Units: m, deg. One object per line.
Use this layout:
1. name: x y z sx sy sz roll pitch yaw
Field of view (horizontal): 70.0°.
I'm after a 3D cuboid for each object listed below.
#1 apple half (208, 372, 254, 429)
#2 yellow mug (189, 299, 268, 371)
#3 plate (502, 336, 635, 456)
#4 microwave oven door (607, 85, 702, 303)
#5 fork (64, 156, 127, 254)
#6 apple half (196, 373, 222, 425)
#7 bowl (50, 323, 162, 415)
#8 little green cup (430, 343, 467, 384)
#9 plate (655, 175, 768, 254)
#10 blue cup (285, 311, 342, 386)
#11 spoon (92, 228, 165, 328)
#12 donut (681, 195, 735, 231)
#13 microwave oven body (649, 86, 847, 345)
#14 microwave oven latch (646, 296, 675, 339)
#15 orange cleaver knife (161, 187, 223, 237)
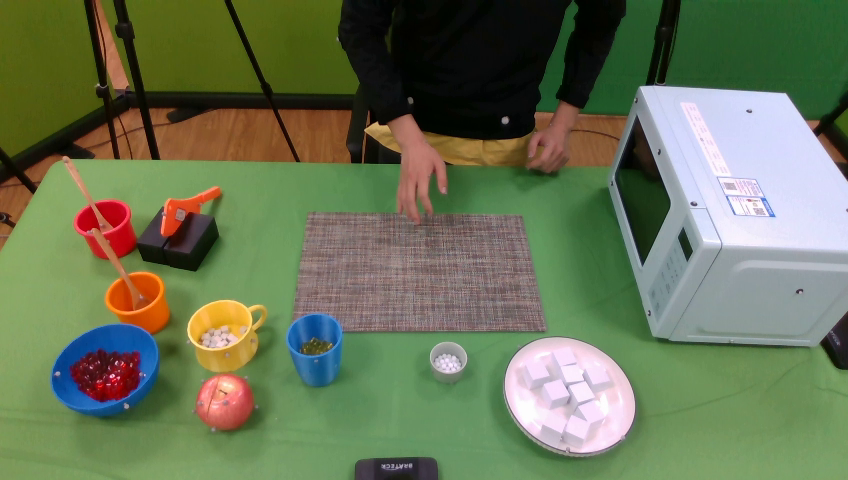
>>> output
1. apple half: -0.282 0.244 0.908 0.053 0.075 0.080 7 43 -1
2. yellow mug: -0.315 0.148 1.002 0.131 0.064 0.099 -32 56 -31
3. plate: 0.225 0.248 0.963 0.208 0.039 0.206 2 46 -2
4. microwave oven door: 0.423 -0.094 1.140 0.039 0.245 0.353 2 46 -1
5. fork: -0.614 -0.064 1.130 0.028 0.018 0.207 -29 97 -16
6. apple half: -0.322 0.239 0.907 0.033 0.081 0.081 7 46 -1
7. bowl: -0.472 0.209 0.924 0.151 0.077 0.150 3 45 -2
8. little green cup: 0.039 0.203 0.994 0.061 0.039 0.061 2 46 -2
9. plate: 0.555 -0.046 1.184 0.209 0.038 0.208 2 46 -2
10. blue cup: -0.170 0.180 0.958 0.093 0.101 0.092 1 44 -1
11. spoon: -0.496 0.063 1.014 0.041 0.194 0.021 -34 12 -32
12. donut: 0.551 -0.054 1.177 0.099 0.048 0.098 1 36 0
13. microwave oven body: 0.568 -0.053 1.118 0.326 0.261 0.439 2 45 -1
14. microwave oven latch: 0.412 0.134 1.061 0.030 0.029 0.078 4 45 1
15. orange cleaver knife: -0.448 -0.058 1.180 0.012 0.077 0.211 13 17 6
